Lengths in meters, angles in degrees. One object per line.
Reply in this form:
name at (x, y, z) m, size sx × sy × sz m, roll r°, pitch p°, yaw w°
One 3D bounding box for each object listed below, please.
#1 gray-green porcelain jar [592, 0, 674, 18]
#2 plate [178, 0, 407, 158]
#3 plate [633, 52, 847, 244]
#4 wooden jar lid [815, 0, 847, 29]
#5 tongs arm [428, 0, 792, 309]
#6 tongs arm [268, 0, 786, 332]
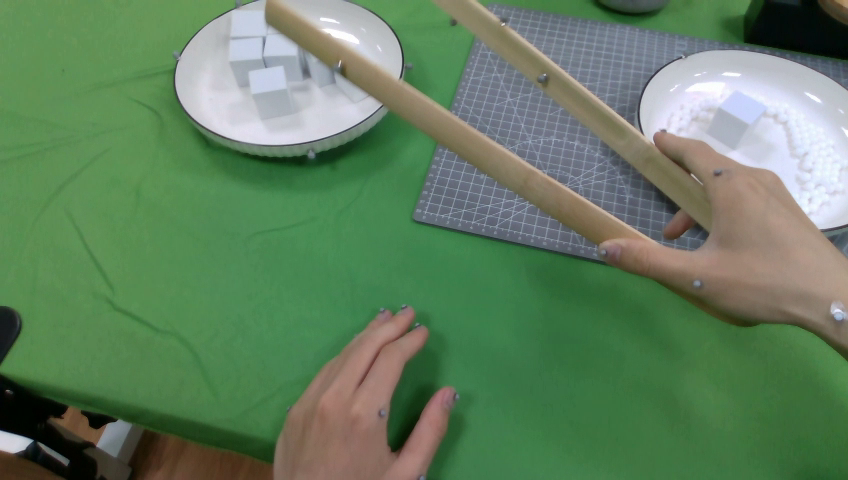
gray-green porcelain jar at (0.224, -0.305, 0.621) m, size 0.106 × 0.127 × 0.105 m, roll 0°, pitch 55°, yaw 0°
plate at (-0.119, -0.152, 0.569) m, size 0.208 × 0.039 × 0.205 m, roll 0°, pitch 56°, yaw 0°
plate at (0.282, -0.080, 0.519) m, size 0.209 × 0.038 × 0.207 m, roll 0°, pitch 56°, yaw 0°
wooden jar lid at (0.424, -0.230, 0.575) m, size 0.108 × 0.021 × 0.107 m, roll 0°, pitch 57°, yaw 0°
tongs arm at (0.096, -0.092, 0.433) m, size 0.382 × 0.027 × 0.051 m, roll 43°, pitch 53°, yaw 14°
tongs arm at (0.051, -0.055, 0.392) m, size 0.386 × 0.028 × 0.028 m, roll 35°, pitch 48°, yaw 8°
